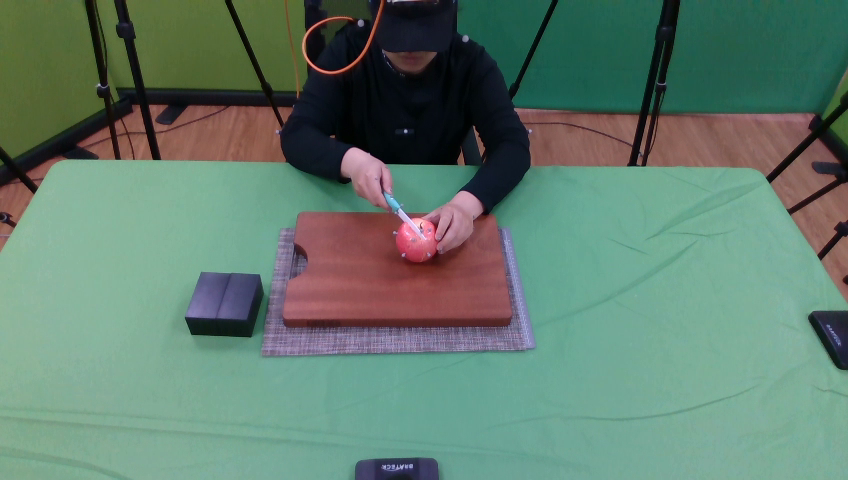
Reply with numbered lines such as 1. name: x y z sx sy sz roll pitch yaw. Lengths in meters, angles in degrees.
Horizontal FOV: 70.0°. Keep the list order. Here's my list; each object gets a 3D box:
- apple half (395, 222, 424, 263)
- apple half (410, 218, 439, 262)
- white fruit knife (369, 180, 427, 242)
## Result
1. apple half: -0.034 0.011 1.109 0.033 0.081 0.081 -21 51 -25
2. apple half: 0.000 -0.003 1.125 0.053 0.075 0.080 -20 44 -26
3. white fruit knife: -0.049 -0.057 1.124 0.016 0.027 0.206 -25 47 -22
